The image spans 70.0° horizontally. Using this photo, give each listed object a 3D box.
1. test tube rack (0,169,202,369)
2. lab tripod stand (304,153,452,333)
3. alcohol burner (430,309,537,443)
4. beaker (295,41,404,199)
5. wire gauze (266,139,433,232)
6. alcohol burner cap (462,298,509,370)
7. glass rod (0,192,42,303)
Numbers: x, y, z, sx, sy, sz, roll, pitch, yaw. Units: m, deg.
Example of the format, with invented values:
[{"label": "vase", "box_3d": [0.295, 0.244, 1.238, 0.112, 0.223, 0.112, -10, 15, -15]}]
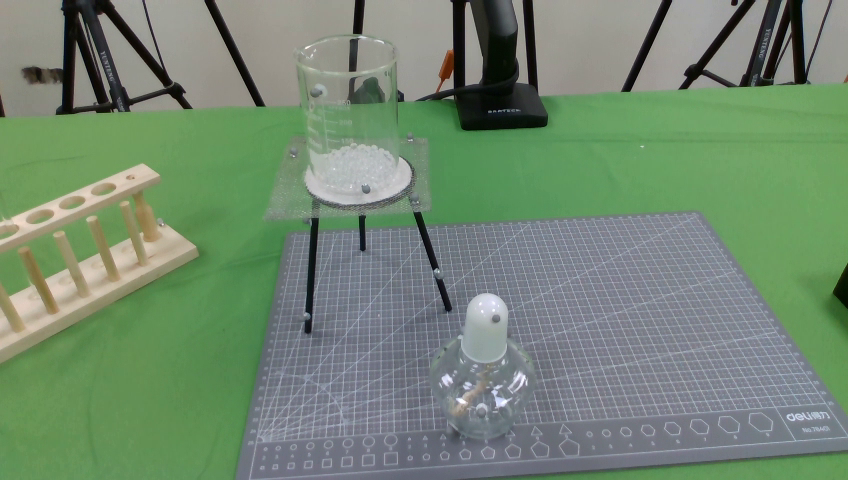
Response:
[{"label": "test tube rack", "box_3d": [-0.333, 0.030, 0.542, 0.066, 0.086, 0.242, 28, 46, 33]}, {"label": "lab tripod stand", "box_3d": [-0.045, 0.002, 0.526, 0.148, 0.132, 0.147, 1, 36, 0]}, {"label": "alcohol burner", "box_3d": [0.043, 0.088, 0.427, 0.078, 0.120, 0.077, 0, 40, 0]}, {"label": "beaker", "box_3d": [-0.056, -0.089, 0.456, 0.083, 0.101, 0.074, 22, 42, 25]}, {"label": "wire gauze", "box_3d": [-0.055, -0.049, 0.484, 0.121, 0.011, 0.124, -1, 39, -1]}, {"label": "alcohol burner cap", "box_3d": [0.043, 0.060, 0.405, 0.034, 0.048, 0.033, 1, 39, -1]}, {"label": "glass rod", "box_3d": [-0.357, -0.029, 0.510, 0.008, 0.201, 0.008, 0, 30, 0]}]
